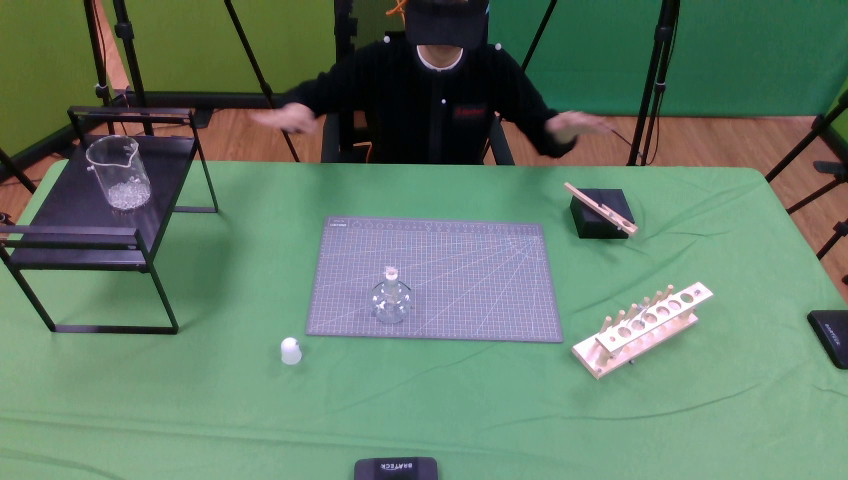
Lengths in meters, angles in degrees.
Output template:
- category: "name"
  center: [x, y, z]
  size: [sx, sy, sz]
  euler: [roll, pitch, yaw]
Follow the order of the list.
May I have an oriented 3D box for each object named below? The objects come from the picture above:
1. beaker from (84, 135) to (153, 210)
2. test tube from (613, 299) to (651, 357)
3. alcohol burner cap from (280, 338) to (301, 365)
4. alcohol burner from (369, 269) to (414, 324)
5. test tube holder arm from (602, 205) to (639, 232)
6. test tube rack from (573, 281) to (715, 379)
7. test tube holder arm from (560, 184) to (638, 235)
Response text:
- category: "beaker"
  center: [-0.475, -0.102, 0.957]
  size: [0.083, 0.101, 0.074]
  euler: [34, 53, 26]
- category: "test tube"
  center: [0.328, 0.143, 0.962]
  size: [0.017, 0.151, 0.017]
  euler: [3, 48, -3]
- category: "alcohol burner cap"
  center: [-0.220, 0.179, 0.993]
  size: [0.034, 0.048, 0.033]
  euler: [3, 46, -2]
- category: "alcohol burner"
  center: [-0.056, 0.089, 1.037]
  size: [0.078, 0.120, 0.077]
  euler: [1, 47, -1]
- category: "test tube holder arm"
  center: [0.384, -0.041, 1.196]
  size: [0.010, 0.015, 0.087]
  euler: [-30, 56, -32]
- category: "test tube rack"
  center: [0.378, 0.140, 1.038]
  size: [0.242, 0.085, 0.066]
  euler: [-22, 51, -23]
- category: "test tube holder arm"
  center: [0.348, -0.063, 1.213]
  size: [0.177, 0.015, 0.013]
  euler: [36, 52, 26]
